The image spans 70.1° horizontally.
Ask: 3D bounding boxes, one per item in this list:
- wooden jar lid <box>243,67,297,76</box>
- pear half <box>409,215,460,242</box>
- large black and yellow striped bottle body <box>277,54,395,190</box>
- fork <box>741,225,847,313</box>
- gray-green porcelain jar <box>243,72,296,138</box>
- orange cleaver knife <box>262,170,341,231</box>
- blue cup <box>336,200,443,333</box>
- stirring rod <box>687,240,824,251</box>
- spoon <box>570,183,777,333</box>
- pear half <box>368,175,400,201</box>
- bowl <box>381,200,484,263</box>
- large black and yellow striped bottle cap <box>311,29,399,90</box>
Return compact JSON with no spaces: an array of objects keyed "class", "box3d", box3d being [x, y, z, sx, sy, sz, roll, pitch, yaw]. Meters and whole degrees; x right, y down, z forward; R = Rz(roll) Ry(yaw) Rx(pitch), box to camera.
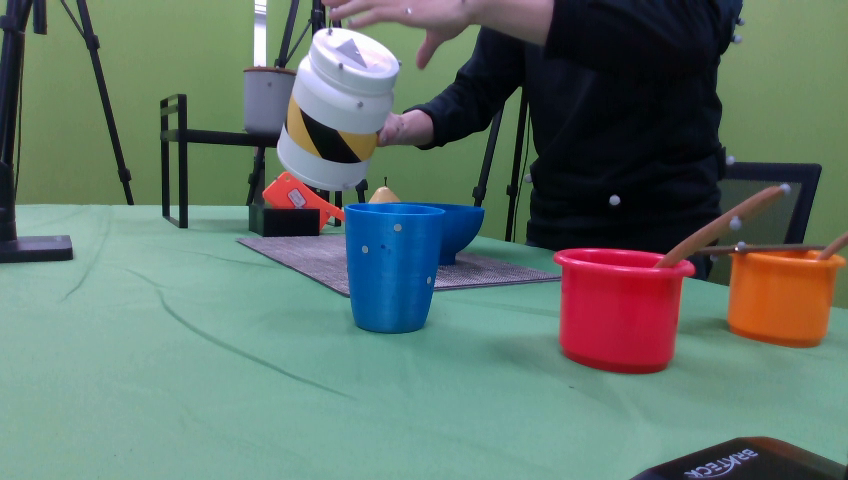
[{"class":"wooden jar lid","box3d":[-0.319,-0.342,1.254,0.108,0.020,0.108,3,8,0]},{"class":"pear half","box3d":[0.011,-0.019,0.848,0.070,0.031,0.088,3,11,33]},{"class":"large black and yellow striped bottle body","box3d":[-0.119,-0.175,0.833,0.131,0.183,0.130,17,40,-14]},{"class":"fork","box3d":[0.323,0.013,0.485,0.028,0.018,0.207,9,-38,-5]},{"class":"gray-green porcelain jar","box3d":[-0.322,-0.279,1.263,0.106,0.126,0.106,3,8,0]},{"class":"orange cleaver knife","box3d":[-0.201,-0.057,1.136,0.212,0.077,0.012,31,-3,-31]},{"class":"blue cup","box3d":[-0.029,0.021,0.508,0.093,0.100,0.092,3,9,0]},{"class":"stirring rod","box3d":[0.289,0.005,0.525,0.177,0.006,0.014,-1,6,-26]},{"class":"spoon","box3d":[0.160,0.020,0.413,0.042,0.021,0.193,1,-36,-24]},{"class":"pear half","box3d":[-0.064,-0.061,1.077,0.055,0.110,0.077,9,13,39]},{"class":"bowl","box3d":[0.008,-0.012,0.842,0.151,0.077,0.151,2,8,0]},{"class":"large black and yellow striped bottle cap","box3d":[-0.088,-0.234,0.781,0.115,0.019,0.115,18,40,-15]}]
